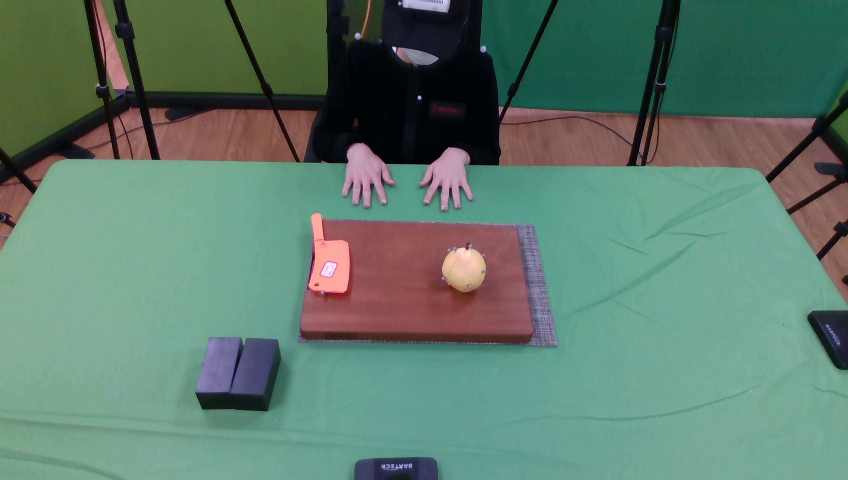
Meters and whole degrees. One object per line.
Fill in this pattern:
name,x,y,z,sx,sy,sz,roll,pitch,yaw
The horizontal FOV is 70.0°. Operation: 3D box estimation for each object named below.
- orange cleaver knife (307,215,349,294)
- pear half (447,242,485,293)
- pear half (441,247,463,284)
orange cleaver knife,-0.180,0.023,1.126,0.077,0.012,0.210,-6,44,-6
pear half,0.080,0.047,1.059,0.056,0.110,0.076,24,54,19
pear half,0.050,0.039,1.079,0.031,0.088,0.070,24,54,17
